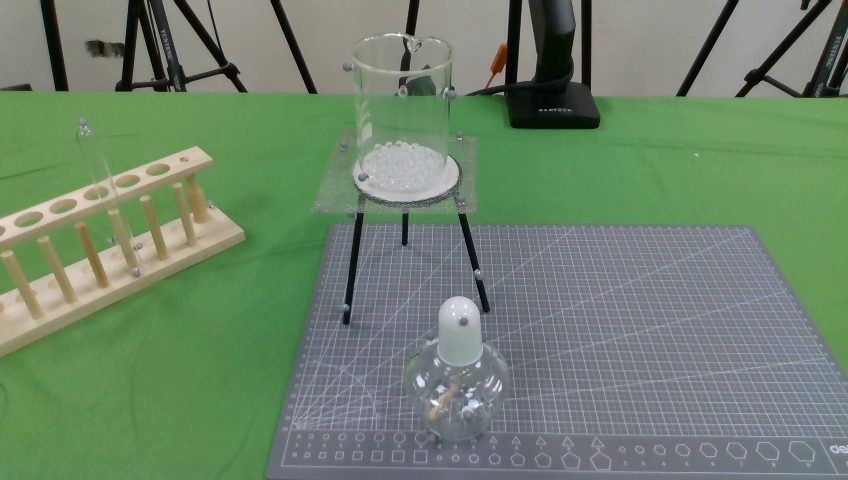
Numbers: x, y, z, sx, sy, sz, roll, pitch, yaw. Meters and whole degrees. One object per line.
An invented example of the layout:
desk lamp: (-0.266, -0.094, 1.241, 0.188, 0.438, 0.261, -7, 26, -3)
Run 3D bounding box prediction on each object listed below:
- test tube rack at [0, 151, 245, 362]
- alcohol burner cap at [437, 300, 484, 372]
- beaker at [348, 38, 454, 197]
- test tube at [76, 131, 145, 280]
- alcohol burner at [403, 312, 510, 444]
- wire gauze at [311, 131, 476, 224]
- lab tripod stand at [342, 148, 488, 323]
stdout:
test tube rack: (-0.297, 0.008, 0.560, 0.242, 0.086, 0.066, -30, 47, -32)
alcohol burner cap: (0.024, 0.061, 0.406, 0.034, 0.048, 0.033, -2, 38, 2)
beaker: (-0.016, -0.092, 0.456, 0.074, 0.101, 0.083, 8, 39, 7)
test tube: (-0.273, -0.026, 0.531, 0.017, 0.151, 0.017, 0, 37, 0)
alcohol burner: (0.023, 0.090, 0.428, 0.078, 0.120, 0.077, 0, 40, 0)
wire gauze: (-0.019, -0.052, 0.484, 0.121, 0.011, 0.124, 2, 41, 3)
lab tripod stand: (-0.010, -0.002, 0.527, 0.148, 0.132, 0.147, 1, 38, -1)
